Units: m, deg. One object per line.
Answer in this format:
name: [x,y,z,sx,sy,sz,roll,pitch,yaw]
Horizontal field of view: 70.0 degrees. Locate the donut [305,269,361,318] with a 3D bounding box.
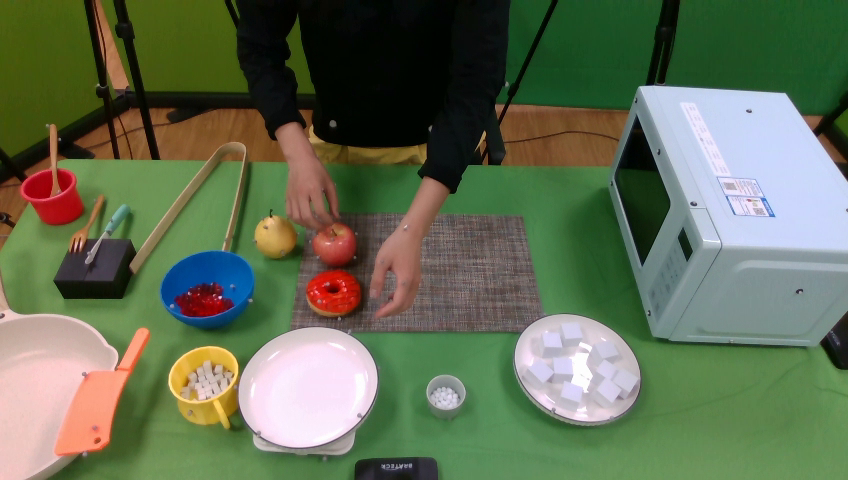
donut: [-0.160,0.094,1.075,0.099,0.048,0.098,4,45,-3]

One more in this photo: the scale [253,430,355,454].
scale: [-0.175,0.236,0.951,0.149,0.032,0.199,4,46,0]

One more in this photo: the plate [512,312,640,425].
plate: [0.246,0.213,0.999,0.208,0.039,0.206,2,46,-2]

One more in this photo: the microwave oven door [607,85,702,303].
microwave oven door: [0.423,-0.094,1.140,0.039,0.245,0.353,2,46,-1]

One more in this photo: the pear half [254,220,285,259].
pear half: [-0.294,0.003,1.127,0.070,0.088,0.031,25,49,16]

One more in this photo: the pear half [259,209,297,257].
pear half: [-0.273,-0.024,1.141,0.076,0.110,0.056,27,51,16]

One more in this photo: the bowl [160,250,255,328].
bowl: [-0.362,0.098,1.040,0.151,0.077,0.150,2,45,-2]

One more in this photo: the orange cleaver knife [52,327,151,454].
orange cleaver knife: [-0.462,0.212,0.879,0.077,0.012,0.210,7,45,-2]

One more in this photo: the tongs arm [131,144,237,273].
tongs arm: [-0.482,-0.078,1.235,0.028,0.028,0.385,6,45,13]

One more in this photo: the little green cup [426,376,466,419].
little green cup: [0.033,0.248,0.950,0.061,0.039,0.061,2,46,-2]

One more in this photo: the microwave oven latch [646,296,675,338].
microwave oven latch: [0.412,0.134,1.061,0.030,0.029,0.078,4,45,1]

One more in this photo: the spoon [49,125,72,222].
spoon: [-0.718,-0.131,1.189,0.041,0.021,0.193,-4,90,-7]

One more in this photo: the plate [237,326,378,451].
plate: [-0.174,0.224,0.917,0.209,0.038,0.208,2,46,-2]

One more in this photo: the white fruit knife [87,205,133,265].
white fruit knife: [-0.584,-0.013,1.129,0.016,0.027,0.206,-1,32,-4]

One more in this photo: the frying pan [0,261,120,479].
frying pan: [-0.647,0.164,0.936,0.307,0.103,0.485,-19,58,-22]

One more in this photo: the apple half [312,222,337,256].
apple half: [-0.190,-0.001,1.143,0.032,0.081,0.081,28,51,18]

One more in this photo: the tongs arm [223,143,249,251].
tongs arm: [-0.397,-0.073,1.232,0.051,0.026,0.382,-2,45,0]

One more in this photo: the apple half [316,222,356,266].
apple half: [-0.157,0.014,1.132,0.053,0.075,0.080,28,48,18]

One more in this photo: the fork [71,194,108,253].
fork: [-0.634,-0.036,1.158,0.028,0.019,0.206,-8,31,-8]

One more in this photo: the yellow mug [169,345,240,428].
yellow mug: [-0.322,0.230,0.922,0.100,0.064,0.130,-24,53,-25]

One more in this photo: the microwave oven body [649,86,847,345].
microwave oven body: [0.567,-0.053,1.118,0.326,0.261,0.439,2,45,-1]
